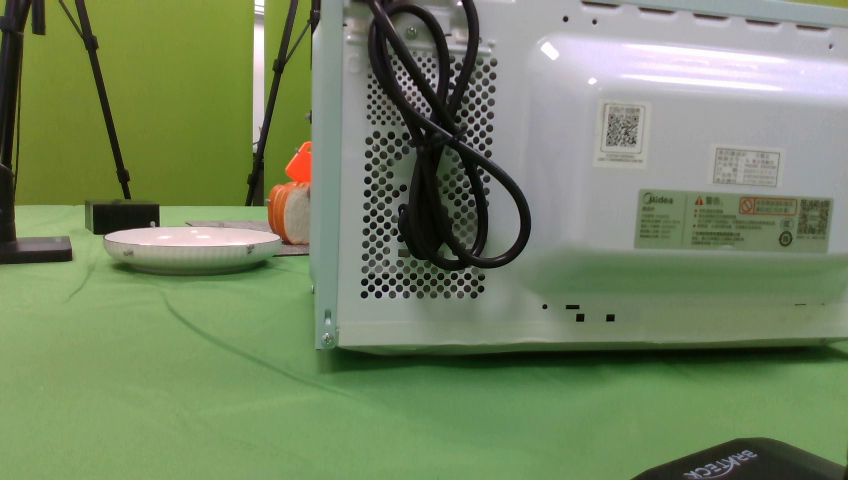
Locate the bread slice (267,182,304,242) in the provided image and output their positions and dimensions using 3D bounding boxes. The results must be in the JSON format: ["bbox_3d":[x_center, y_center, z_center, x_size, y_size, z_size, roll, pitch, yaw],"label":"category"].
[{"bbox_3d":[-0.195,-0.051,0.999,0.135,0.107,0.018,-8,14,-41],"label":"bread slice"}]

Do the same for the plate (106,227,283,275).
[{"bbox_3d":[-0.288,0.013,0.772,0.208,0.039,0.207,2,7,0],"label":"plate"}]

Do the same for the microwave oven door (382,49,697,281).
[{"bbox_3d":[0.135,-0.077,0.685,0.357,0.243,0.039,1,8,-12],"label":"microwave oven door"}]

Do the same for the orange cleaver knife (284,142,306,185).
[{"bbox_3d":[-0.142,-0.098,1.027,0.212,0.077,0.012,23,-2,-44],"label":"orange cleaver knife"}]

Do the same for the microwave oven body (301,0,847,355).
[{"bbox_3d":[0.120,-0.053,0.535,0.443,0.260,0.325,2,7,-11],"label":"microwave oven body"}]

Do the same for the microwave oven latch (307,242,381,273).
[{"bbox_3d":[-0.086,0.019,0.656,0.079,0.029,0.030,2,7,-10],"label":"microwave oven latch"}]
